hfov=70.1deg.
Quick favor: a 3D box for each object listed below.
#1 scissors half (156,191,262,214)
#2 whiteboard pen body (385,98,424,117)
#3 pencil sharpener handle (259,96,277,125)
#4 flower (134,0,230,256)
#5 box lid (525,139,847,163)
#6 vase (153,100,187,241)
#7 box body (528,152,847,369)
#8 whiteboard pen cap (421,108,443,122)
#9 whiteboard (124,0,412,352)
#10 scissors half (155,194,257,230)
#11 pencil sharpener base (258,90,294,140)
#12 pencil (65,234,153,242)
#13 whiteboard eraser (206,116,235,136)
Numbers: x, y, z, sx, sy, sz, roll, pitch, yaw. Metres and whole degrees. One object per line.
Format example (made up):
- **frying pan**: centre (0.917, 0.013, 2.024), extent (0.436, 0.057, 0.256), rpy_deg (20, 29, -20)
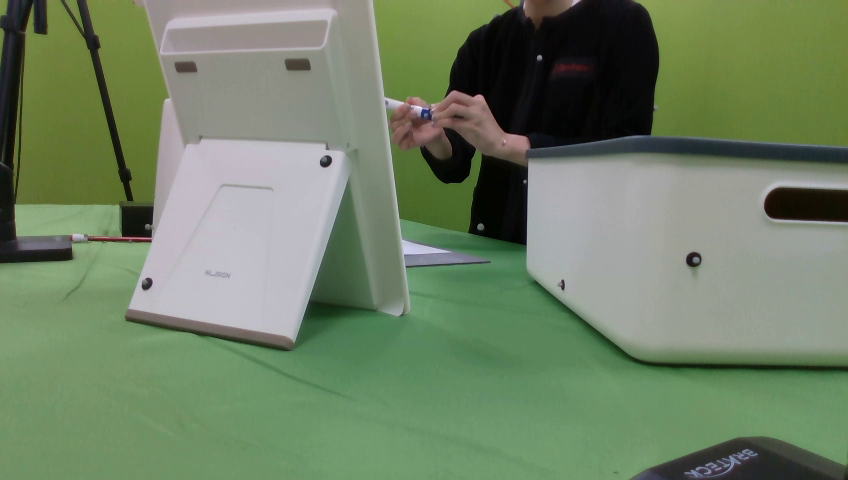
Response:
- **scissors half**: centre (-0.371, -0.069, 1.051), extent (0.176, 0.040, 0.013), rpy_deg (2, 25, -24)
- **whiteboard pen body**: centre (-0.043, -0.211, 0.950), extent (0.140, 0.017, 0.017), rpy_deg (18, 12, 17)
- **pencil sharpener handle**: centre (-0.373, -0.304, 1.425), extent (0.036, 0.067, 0.030), rpy_deg (13, -1, -37)
- **flower**: centre (-0.282, -0.146, 0.713), extent (0.038, 0.362, 0.044), rpy_deg (-23, 23, -31)
- **box lid**: centre (0.261, -0.078, 0.580), extent (0.264, 0.015, 0.371), rpy_deg (2, 7, -4)
- **vase**: centre (-0.278, -0.066, 0.736), extent (0.098, 0.200, 0.098), rpy_deg (2, 9, 0)
- **box body**: centre (0.258, -0.005, 0.591), extent (0.254, 0.160, 0.363), rpy_deg (2, 7, -4)
- **whiteboard pen cap**: centre (0.012, -0.193, 0.933), extent (0.033, 0.018, 0.018), rpy_deg (14, 11, 18)
- **whiteboard**: centre (-0.151, -0.049, 0.472), extent (0.216, 0.305, 0.144), rpy_deg (6, 27, 24)
- **scissors half**: centre (-0.378, -0.051, 1.058), extent (0.176, 0.040, 0.012), rpy_deg (20, 22, -31)
- **pencil sharpener base**: centre (-0.341, -0.285, 1.388), extent (0.062, 0.107, 0.076), rpy_deg (-3, 9, -36)
- **pencil**: centre (-0.429, -0.001, 0.911), extent (0.195, 0.012, 0.012), rpy_deg (1, 8, -19)
- **whiteboard eraser**: centre (-0.449, -0.251, 1.335), extent (0.056, 0.042, 0.112), rpy_deg (1, 7, -22)
